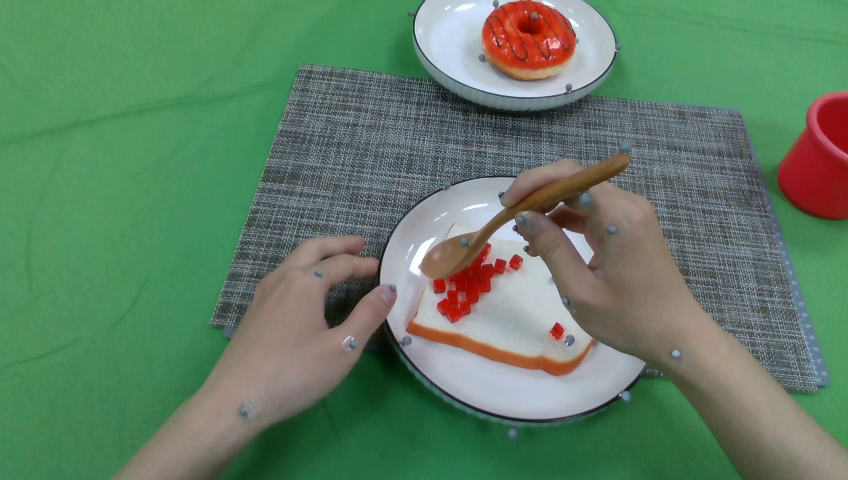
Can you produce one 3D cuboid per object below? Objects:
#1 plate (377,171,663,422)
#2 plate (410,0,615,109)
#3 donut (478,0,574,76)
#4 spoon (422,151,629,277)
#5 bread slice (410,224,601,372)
[{"bbox_3d":[0.069,0.037,0.455,0.209,0.038,0.207,2,55,-2],"label":"plate"},{"bbox_3d":[0.088,-0.202,0.625,0.208,0.039,0.205,2,53,-3],"label":"plate"},{"bbox_3d":[0.103,-0.206,0.615,0.099,0.048,0.098,2,56,-3],"label":"donut"},{"bbox_3d":[0.051,-0.012,0.375,0.022,0.194,0.041,39,59,-10],"label":"spoon"},{"bbox_3d":[0.066,0.042,0.456,0.131,0.019,0.104,15,56,10],"label":"bread slice"}]
